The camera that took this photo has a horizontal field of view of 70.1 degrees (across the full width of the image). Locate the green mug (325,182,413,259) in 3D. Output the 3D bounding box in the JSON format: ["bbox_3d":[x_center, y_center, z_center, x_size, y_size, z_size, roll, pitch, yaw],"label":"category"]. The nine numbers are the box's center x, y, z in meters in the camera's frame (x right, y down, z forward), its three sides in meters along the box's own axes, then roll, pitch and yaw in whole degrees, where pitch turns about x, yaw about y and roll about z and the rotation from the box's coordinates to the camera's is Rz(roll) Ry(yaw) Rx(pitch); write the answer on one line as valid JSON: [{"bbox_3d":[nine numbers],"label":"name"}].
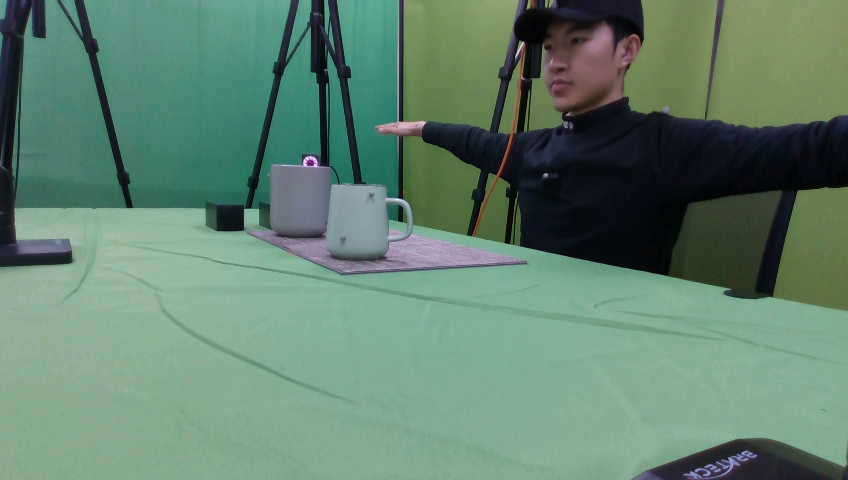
[{"bbox_3d":[-0.078,-0.028,0.869,0.125,0.105,0.092,2,7,3],"label":"green mug"}]

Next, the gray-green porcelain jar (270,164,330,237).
[{"bbox_3d":[-0.223,-0.072,1.091,0.106,0.126,0.106,2,8,0],"label":"gray-green porcelain jar"}]
